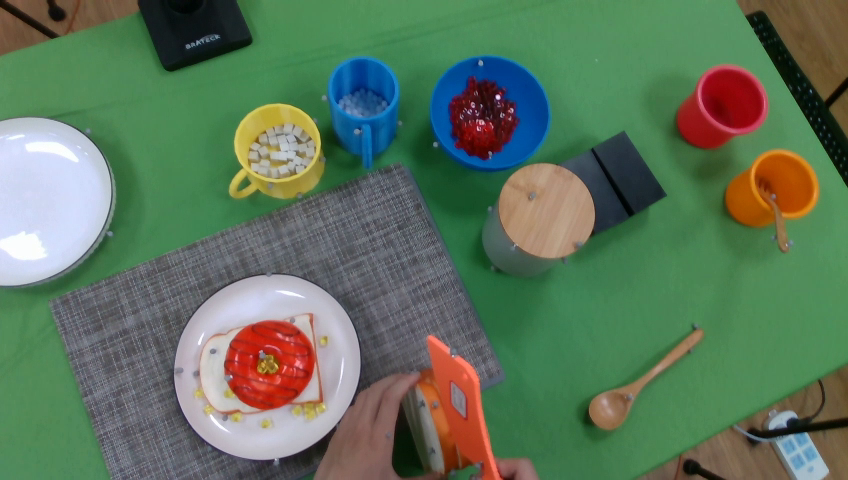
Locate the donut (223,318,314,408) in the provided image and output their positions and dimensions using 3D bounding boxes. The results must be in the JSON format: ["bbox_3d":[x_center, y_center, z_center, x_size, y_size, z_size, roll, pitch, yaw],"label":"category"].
[{"bbox_3d":[-0.171,0.135,0.668,0.099,0.048,0.098,2,78,-9],"label":"donut"}]

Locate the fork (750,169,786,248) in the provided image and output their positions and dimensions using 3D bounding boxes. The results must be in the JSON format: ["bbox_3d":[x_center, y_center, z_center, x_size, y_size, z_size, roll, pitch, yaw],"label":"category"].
[{"bbox_3d":[0.424,-0.042,0.744,0.028,0.019,0.206,39,32,-2],"label":"fork"}]

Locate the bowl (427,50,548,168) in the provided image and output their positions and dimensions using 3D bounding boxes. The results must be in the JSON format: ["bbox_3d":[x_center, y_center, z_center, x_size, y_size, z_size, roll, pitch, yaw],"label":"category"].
[{"bbox_3d":[0.075,-0.154,0.772,0.151,0.077,0.150,1,77,-5],"label":"bowl"}]

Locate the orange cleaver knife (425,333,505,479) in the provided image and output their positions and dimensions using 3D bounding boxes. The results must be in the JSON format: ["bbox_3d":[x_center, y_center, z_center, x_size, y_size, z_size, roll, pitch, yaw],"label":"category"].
[{"bbox_3d":[0.045,0.179,0.547,0.012,0.076,0.212,-28,112,-27],"label":"orange cleaver knife"}]

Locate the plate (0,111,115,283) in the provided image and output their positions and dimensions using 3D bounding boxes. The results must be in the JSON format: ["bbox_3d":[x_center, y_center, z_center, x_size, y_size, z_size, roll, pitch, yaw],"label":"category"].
[{"bbox_3d":[-0.470,-0.049,0.714,0.208,0.039,0.206,1,77,-5],"label":"plate"}]

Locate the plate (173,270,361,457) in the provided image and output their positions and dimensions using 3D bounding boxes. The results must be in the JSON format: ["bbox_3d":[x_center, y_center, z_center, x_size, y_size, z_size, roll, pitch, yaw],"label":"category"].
[{"bbox_3d":[-0.175,0.139,0.696,0.209,0.038,0.208,1,77,-5],"label":"plate"}]

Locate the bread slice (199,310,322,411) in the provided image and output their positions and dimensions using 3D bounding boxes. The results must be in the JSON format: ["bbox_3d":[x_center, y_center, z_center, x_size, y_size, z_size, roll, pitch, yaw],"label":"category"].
[{"bbox_3d":[-0.189,0.143,0.697,0.132,0.019,0.104,-10,77,-11],"label":"bread slice"}]

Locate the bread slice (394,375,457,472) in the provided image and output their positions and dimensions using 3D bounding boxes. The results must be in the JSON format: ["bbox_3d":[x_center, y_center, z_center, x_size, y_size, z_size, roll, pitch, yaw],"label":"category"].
[{"bbox_3d":[0.001,0.194,0.656,0.018,0.134,0.106,-16,78,-17],"label":"bread slice"}]

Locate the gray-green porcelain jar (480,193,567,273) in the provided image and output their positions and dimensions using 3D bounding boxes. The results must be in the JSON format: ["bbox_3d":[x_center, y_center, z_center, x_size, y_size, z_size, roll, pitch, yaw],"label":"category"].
[{"bbox_3d":[0.125,-0.020,0.721,0.106,0.127,0.105,1,76,-5],"label":"gray-green porcelain jar"}]

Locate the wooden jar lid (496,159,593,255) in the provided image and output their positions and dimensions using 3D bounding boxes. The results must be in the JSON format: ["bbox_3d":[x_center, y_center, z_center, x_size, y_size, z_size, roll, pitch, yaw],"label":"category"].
[{"bbox_3d":[0.130,-0.035,0.660,0.108,0.021,0.108,2,78,-8],"label":"wooden jar lid"}]

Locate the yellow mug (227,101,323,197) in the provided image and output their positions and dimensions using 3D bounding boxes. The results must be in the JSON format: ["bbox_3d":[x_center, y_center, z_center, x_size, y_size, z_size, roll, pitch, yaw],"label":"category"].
[{"bbox_3d":[-0.188,-0.100,0.739,0.099,0.064,0.130,43,78,6],"label":"yellow mug"}]

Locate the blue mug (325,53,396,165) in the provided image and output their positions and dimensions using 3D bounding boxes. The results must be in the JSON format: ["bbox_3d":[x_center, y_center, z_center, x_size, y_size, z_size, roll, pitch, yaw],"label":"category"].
[{"bbox_3d":[-0.076,-0.150,0.742,0.082,0.106,0.116,-3,77,-6],"label":"blue mug"}]

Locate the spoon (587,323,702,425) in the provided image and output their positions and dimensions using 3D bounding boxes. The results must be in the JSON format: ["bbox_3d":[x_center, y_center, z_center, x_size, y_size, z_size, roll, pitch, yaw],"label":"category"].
[{"bbox_3d":[0.277,0.161,0.747,0.194,0.022,0.041,-35,64,-12],"label":"spoon"}]
